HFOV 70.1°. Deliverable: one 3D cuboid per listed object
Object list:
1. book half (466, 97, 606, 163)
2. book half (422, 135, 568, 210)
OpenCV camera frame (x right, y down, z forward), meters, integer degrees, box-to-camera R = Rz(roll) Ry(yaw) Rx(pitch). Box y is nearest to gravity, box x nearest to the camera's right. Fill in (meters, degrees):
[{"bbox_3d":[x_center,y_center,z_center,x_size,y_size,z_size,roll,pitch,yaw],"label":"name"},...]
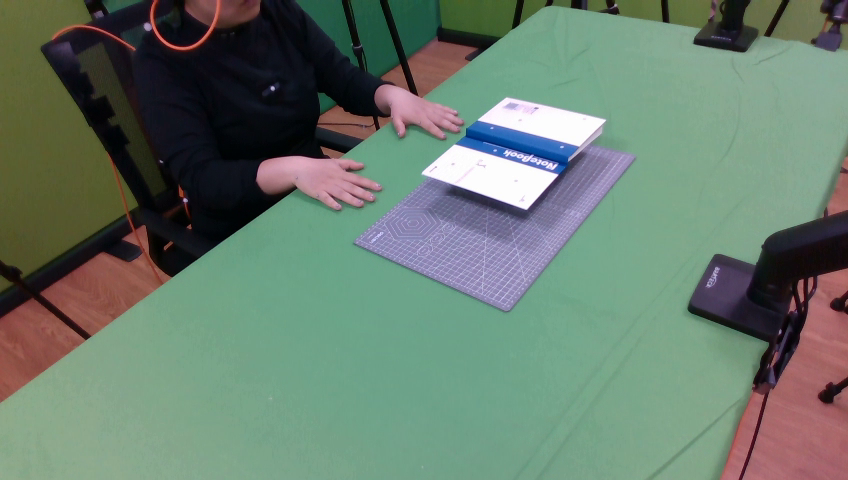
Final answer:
[{"bbox_3d":[0.203,-0.207,1.105,0.208,0.016,0.149,22,47,31],"label":"book half"},{"bbox_3d":[0.119,-0.121,1.027,0.208,0.007,0.143,22,49,30],"label":"book half"}]
